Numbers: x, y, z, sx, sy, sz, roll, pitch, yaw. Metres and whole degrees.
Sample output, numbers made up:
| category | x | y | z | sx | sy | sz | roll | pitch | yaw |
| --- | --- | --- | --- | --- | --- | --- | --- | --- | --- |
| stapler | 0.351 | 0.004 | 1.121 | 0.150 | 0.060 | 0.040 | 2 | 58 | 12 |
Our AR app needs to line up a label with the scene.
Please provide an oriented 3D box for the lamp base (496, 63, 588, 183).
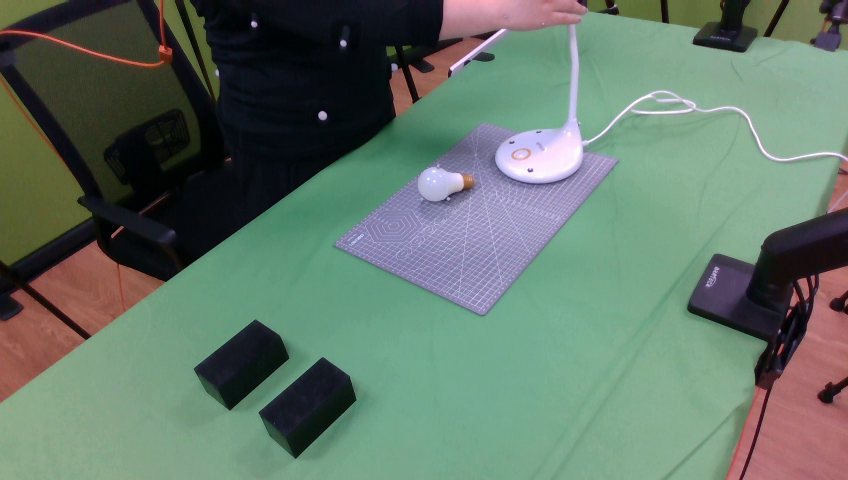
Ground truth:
| category | x | y | z | sx | sy | sz | roll | pitch | yaw |
| --- | --- | --- | --- | --- | --- | --- | --- | --- | --- |
| lamp base | 0.216 | -0.217 | 1.067 | 0.180 | 0.181 | 0.159 | -19 | 42 | -18 |

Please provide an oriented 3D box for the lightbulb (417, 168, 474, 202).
| category | x | y | z | sx | sy | sz | roll | pitch | yaw |
| --- | --- | --- | --- | --- | --- | --- | --- | --- | --- |
| lightbulb | 0.040 | -0.098 | 1.055 | 0.108 | 0.059 | 0.059 | -8 | 37 | -25 |
